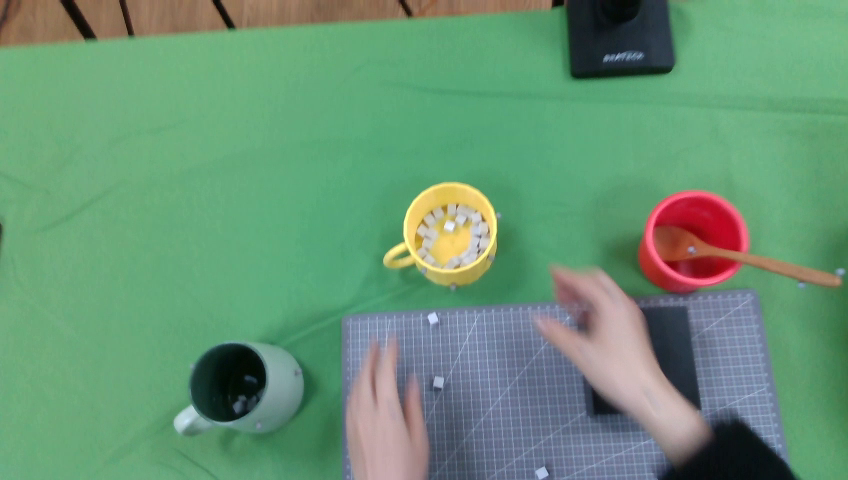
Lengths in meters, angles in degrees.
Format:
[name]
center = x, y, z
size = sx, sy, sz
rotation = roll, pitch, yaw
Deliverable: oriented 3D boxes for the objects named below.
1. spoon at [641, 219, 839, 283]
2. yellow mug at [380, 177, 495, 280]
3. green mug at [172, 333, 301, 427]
[spoon]
center = 0.296, 0.012, 0.589
size = 0.041, 0.022, 0.192
rotation = -56, 33, -8
[yellow mug]
center = 0.013, -0.005, 0.663
size = 0.131, 0.064, 0.099
rotation = -23, 74, 0
[green mug]
center = -0.196, 0.151, 0.620
size = 0.125, 0.105, 0.092
rotation = -35, 74, -5
